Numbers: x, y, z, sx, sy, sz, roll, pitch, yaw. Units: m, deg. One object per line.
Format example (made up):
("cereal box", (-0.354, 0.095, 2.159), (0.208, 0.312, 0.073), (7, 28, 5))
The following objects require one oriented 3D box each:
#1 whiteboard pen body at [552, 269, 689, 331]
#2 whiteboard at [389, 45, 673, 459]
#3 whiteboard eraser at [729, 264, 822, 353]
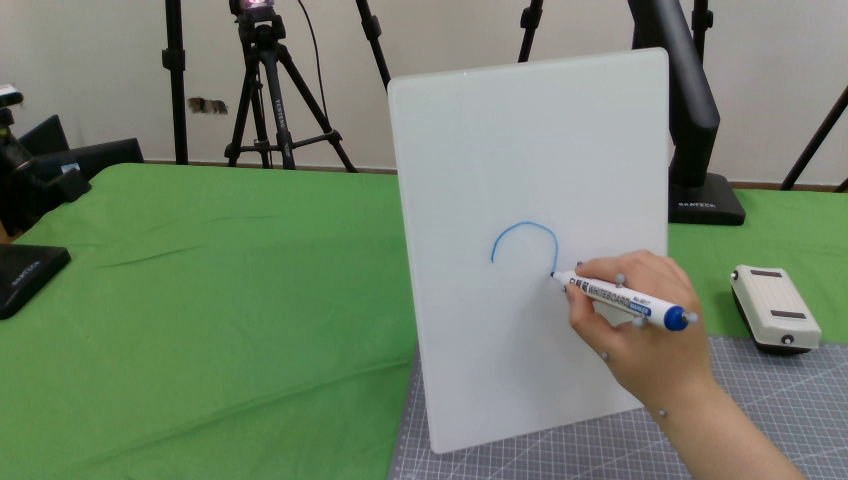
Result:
("whiteboard pen body", (0.125, 0.036, 0.414), (0.017, 0.017, 0.140), (-14, 13, -17))
("whiteboard", (0.083, 0.000, 0.537), (0.217, 0.307, 0.143), (-9, 16, -10))
("whiteboard eraser", (0.350, 0.068, 0.611), (0.055, 0.042, 0.112), (3, 31, 10))
